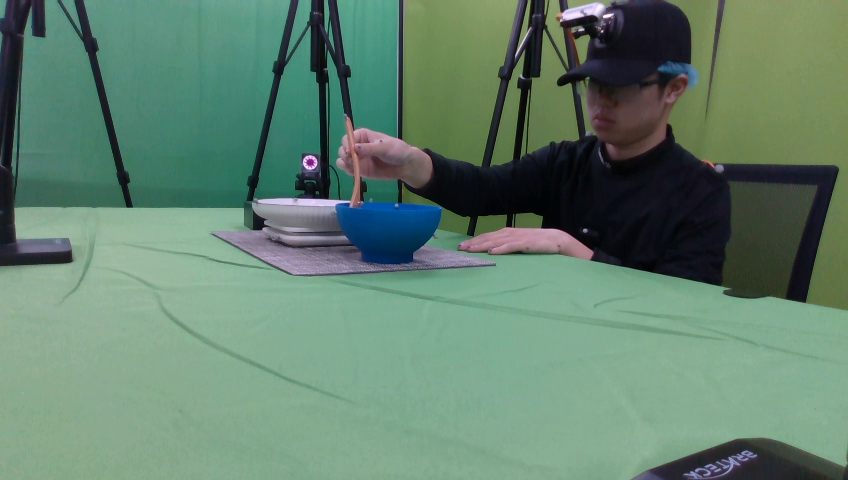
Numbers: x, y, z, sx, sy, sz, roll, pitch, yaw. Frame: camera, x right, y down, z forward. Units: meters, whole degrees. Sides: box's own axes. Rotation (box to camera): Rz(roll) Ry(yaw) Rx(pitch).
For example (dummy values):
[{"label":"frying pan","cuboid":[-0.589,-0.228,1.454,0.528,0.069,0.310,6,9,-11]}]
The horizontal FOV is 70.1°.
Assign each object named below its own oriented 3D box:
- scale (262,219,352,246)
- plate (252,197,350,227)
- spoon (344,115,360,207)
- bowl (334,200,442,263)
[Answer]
[{"label":"scale","cuboid":[-0.160,-0.015,1.027,0.202,0.031,0.148,-2,8,-32]},{"label":"plate","cuboid":[-0.179,-0.047,1.012,0.209,0.038,0.209,2,6,0]},{"label":"spoon","cuboid":[-0.100,-0.093,0.878,0.021,0.193,0.042,-11,-16,21]},{"label":"bowl","cuboid":[-0.051,-0.012,0.849,0.151,0.077,0.151,2,8,0]}]
